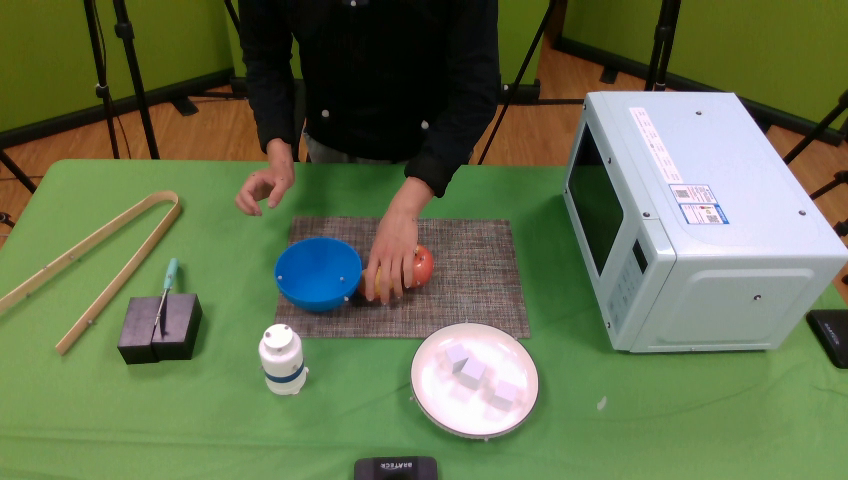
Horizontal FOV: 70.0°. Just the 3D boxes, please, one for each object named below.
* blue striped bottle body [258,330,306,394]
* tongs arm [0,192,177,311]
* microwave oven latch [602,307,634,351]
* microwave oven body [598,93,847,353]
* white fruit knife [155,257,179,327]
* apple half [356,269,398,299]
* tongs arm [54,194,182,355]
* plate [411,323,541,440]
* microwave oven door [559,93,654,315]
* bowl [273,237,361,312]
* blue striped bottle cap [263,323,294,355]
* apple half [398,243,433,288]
[{"bbox_3d":[-0.220,0.182,0.937,0.063,0.121,0.062,2,46,-2],"label":"blue striped bottle body"},{"bbox_3d":[-0.618,0.019,1.123,0.050,0.026,0.384,24,47,16],"label":"tongs arm"},{"bbox_3d":[0.332,0.153,1.044,0.030,0.029,0.078,-1,45,-4],"label":"microwave oven latch"},{"bbox_3d":[0.475,-0.041,1.109,0.326,0.261,0.438,-1,45,-4],"label":"microwave oven body"},{"bbox_3d":[-0.440,0.085,1.037,0.016,0.027,0.206,10,26,-19],"label":"white fruit knife"},{"bbox_3d":[-0.085,0.084,1.097,0.081,0.033,0.081,0,28,0],"label":"apple half"},{"bbox_3d":[-0.543,0.048,1.107,0.028,0.028,0.385,11,46,10],"label":"tongs arm"},{"bbox_3d":[0.082,0.228,0.976,0.208,0.039,0.206,2,45,-2],"label":"plate"},{"bbox_3d":[0.327,-0.074,1.123,0.039,0.245,0.353,-1,46,-5],"label":"microwave oven door"},{"bbox_3d":[-0.186,0.074,1.069,0.151,0.077,0.150,3,46,-3],"label":"bowl"},{"bbox_3d":[-0.217,0.146,0.900,0.044,0.021,0.044,1,46,-1],"label":"blue striped bottle cap"},{"bbox_3d":[-0.012,0.046,1.115,0.053,0.075,0.080,-11,44,-20],"label":"apple half"}]
